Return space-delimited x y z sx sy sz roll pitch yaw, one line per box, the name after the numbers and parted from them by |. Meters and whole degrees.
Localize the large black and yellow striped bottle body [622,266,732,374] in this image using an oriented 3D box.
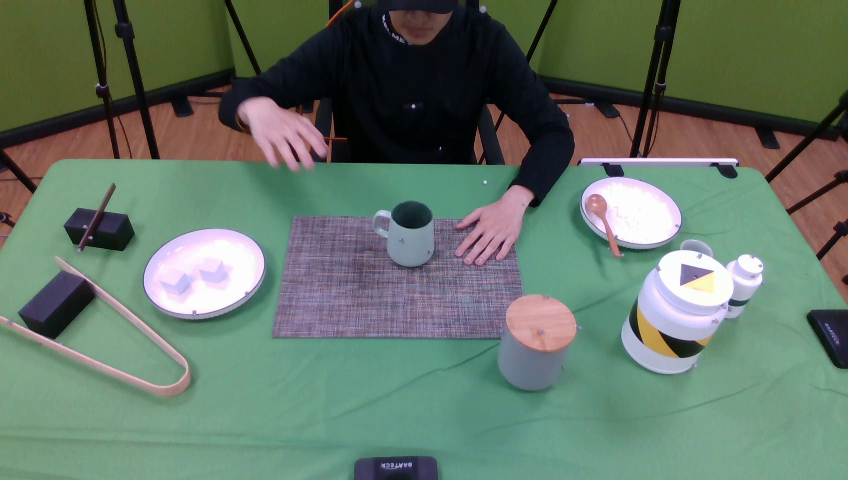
0.415 0.119 0.997 0.131 0.185 0.130 2 46 -2 | large black and yellow striped bottle body

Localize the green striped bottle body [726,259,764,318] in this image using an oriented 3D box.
0.563 0.081 1.089 0.063 0.120 0.063 2 46 -2 | green striped bottle body

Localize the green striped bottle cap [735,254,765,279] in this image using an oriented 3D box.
0.566 0.046 1.051 0.044 0.020 0.044 0 45 0 | green striped bottle cap

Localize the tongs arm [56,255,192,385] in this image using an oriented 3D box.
-0.517 0.126 1.033 0.386 0.028 0.028 30 43 23 | tongs arm

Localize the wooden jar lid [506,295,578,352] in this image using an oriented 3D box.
0.179 0.130 0.925 0.108 0.021 0.107 2 43 -2 | wooden jar lid

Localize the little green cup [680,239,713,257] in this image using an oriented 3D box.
0.530 0.033 1.189 0.061 0.039 0.061 3 48 -3 | little green cup

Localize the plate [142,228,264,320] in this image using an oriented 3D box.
-0.394 0.064 1.095 0.208 0.039 0.206 2 46 -2 | plate

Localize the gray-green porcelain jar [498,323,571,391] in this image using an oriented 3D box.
0.176 0.172 0.971 0.106 0.127 0.105 2 46 -2 | gray-green porcelain jar

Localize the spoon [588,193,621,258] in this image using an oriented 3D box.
0.367 -0.032 1.220 0.041 0.022 0.192 1 38 -1 | spoon

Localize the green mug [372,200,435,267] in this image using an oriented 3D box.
-0.040 -0.016 1.146 0.125 0.105 0.092 17 48 13 | green mug

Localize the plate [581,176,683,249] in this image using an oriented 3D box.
0.430 -0.054 1.267 0.209 0.038 0.208 2 46 -2 | plate

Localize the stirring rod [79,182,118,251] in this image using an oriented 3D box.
-0.605 -0.047 1.130 0.006 0.014 0.175 0 47 1 | stirring rod

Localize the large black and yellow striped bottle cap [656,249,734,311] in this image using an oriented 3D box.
0.419 0.061 0.938 0.115 0.019 0.114 2 47 -2 | large black and yellow striped bottle cap

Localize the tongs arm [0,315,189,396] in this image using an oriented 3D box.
-0.555 0.170 0.981 0.384 0.026 0.050 21 43 14 | tongs arm
